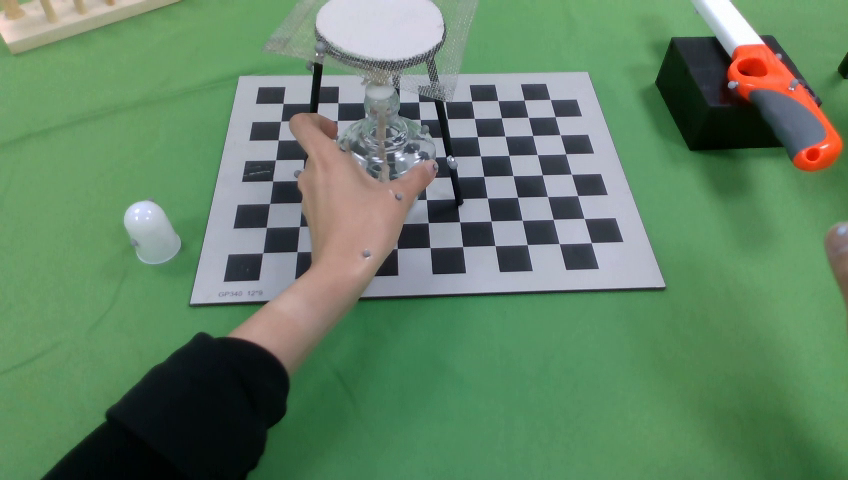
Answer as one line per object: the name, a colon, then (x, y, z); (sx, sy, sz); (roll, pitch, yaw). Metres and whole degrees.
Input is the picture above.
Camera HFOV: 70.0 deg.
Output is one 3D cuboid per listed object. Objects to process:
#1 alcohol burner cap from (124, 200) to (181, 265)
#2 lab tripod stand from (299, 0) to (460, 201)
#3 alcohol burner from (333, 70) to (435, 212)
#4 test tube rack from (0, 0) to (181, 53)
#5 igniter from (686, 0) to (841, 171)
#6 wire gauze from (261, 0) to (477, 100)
alcohol burner cap: (-0.201, -0.008, 0.441); (0.034, 0.048, 0.033); (2, 52, -2)
lab tripod stand: (-0.028, -0.105, 0.462); (0.148, 0.132, 0.147); (3, 51, -3)
alcohol burner: (-0.031, -0.078, 0.452); (0.078, 0.120, 0.077); (0, 52, 1)
test tube rack: (-0.330, -0.286, 0.629); (0.242, 0.086, 0.066); (-30, 59, -23)
igniter: (0.284, -0.157, 0.528); (0.057, 0.025, 0.273); (-4, 49, -1)
wire gauze: (-0.030, -0.145, 0.407); (0.125, 0.011, 0.120); (13, 51, 6)
